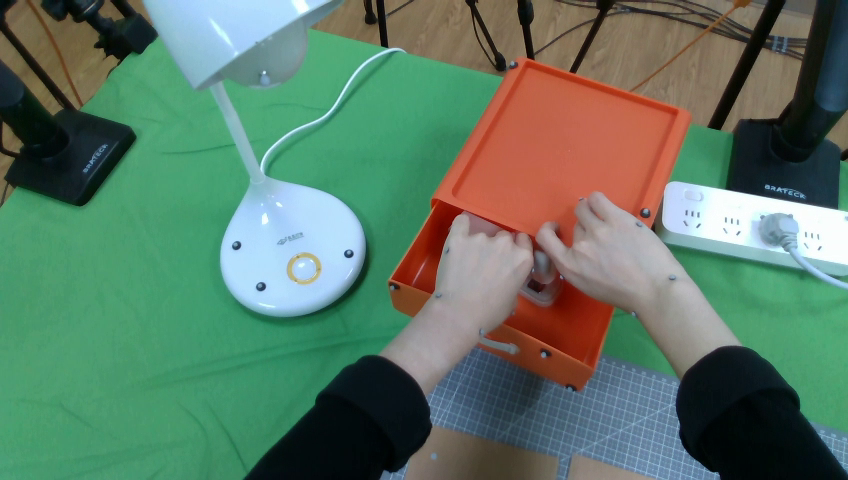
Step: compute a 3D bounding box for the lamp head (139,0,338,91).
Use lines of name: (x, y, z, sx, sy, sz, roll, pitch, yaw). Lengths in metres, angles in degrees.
lamp head: (-0.123, -0.165, 0.351, 0.112, 0.112, 0.123, -40, 105, -19)

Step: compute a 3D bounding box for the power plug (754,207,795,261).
power plug: (0.364, -0.003, 0.637, 0.035, 0.053, 0.072, 22, 64, 13)

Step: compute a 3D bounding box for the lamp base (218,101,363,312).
lamp base: (-0.158, -0.040, 0.614, 0.160, 0.182, 0.177, -32, 62, -16)

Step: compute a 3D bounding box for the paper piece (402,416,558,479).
paper piece: (0.042, 0.241, 0.547, 0.135, 0.009, 0.137, 11, 64, 12)

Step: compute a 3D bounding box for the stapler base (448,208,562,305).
stapler base: (0.076, 0.012, 0.599, 0.129, 0.024, 0.041, 39, 93, 30)

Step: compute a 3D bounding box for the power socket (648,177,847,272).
power socket: (0.363, -0.018, 0.672, 0.226, 0.033, 0.071, 12, 62, 8)

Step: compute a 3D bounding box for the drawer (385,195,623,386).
drawer: (0.097, 0.005, 0.590, 0.193, 0.074, 0.211, 22, 63, 14)

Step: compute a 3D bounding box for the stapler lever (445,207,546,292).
stapler lever: (0.066, 0.007, 0.582, 0.117, 0.040, 0.027, 39, 93, 24)

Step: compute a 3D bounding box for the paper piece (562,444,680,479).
paper piece: (0.180, 0.265, 0.530, 0.135, 0.004, 0.135, 16, 63, 11)

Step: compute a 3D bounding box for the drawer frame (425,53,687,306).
drawer frame: (0.137, -0.070, 0.628, 0.201, 0.083, 0.212, 22, 63, 14)
